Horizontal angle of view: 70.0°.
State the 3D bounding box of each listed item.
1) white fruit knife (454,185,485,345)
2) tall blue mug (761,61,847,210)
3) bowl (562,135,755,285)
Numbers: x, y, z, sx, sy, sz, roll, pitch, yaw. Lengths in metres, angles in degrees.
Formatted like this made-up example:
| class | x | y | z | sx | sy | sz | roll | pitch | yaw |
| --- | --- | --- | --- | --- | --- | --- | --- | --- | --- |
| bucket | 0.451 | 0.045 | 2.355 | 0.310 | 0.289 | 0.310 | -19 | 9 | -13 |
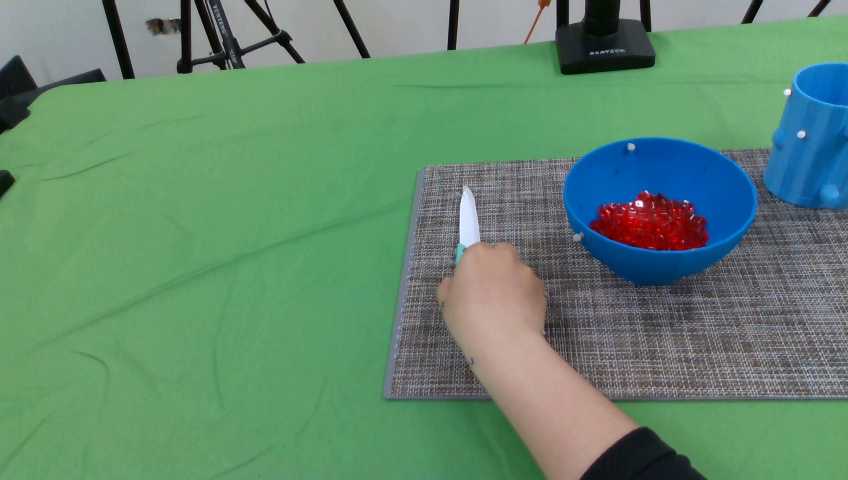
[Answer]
| class | x | y | z | sx | sy | sz | roll | pitch | yaw |
| --- | --- | --- | --- | --- | --- | --- | --- | --- | --- |
| white fruit knife | 0.041 | 0.013 | 0.572 | 0.027 | 0.016 | 0.205 | 17 | 41 | -13 |
| tall blue mug | 0.368 | -0.086 | 0.541 | 0.078 | 0.109 | 0.106 | -21 | 44 | -12 |
| bowl | 0.195 | -0.015 | 0.523 | 0.151 | 0.077 | 0.150 | -6 | 44 | 6 |
